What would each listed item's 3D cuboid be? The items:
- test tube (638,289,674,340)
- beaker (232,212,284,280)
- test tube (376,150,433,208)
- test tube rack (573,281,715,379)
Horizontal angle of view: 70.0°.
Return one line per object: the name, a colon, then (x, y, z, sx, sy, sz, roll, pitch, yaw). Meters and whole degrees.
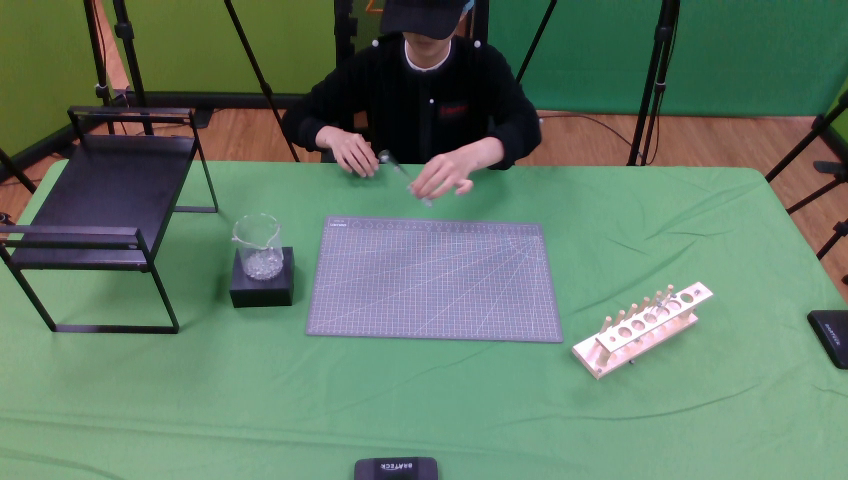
test tube: (0.374, 0.124, 0.983, 0.017, 0.151, 0.017, 0, 54, 0)
beaker: (-0.280, 0.016, 1.037, 0.074, 0.101, 0.083, -18, 50, -20)
test tube: (-0.031, -0.103, 1.046, 0.017, 0.151, 0.017, -26, 41, 25)
test tube rack: (0.378, 0.140, 1.038, 0.242, 0.085, 0.066, -22, 51, -23)
